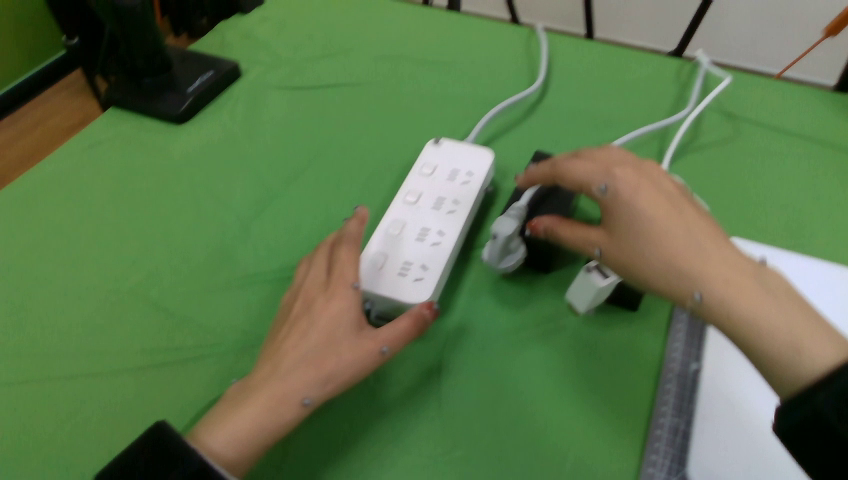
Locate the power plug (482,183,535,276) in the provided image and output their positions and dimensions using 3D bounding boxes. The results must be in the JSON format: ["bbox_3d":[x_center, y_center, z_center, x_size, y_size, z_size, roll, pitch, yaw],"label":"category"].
[{"bbox_3d":[0.079,-0.004,0.503,0.072,0.053,0.035,-40,51,-11],"label":"power plug"}]

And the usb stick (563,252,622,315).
[{"bbox_3d":[0.124,0.036,0.456,0.027,0.059,0.021,-29,65,-26],"label":"usb stick"}]

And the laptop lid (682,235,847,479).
[{"bbox_3d":[0.372,0.125,0.414,0.355,0.013,0.240,19,53,16],"label":"laptop lid"}]

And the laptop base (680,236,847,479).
[{"bbox_3d":[0.373,0.131,0.424,0.353,0.023,0.234,18,54,15],"label":"laptop base"}]

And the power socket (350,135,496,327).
[{"bbox_3d":[0.005,-0.019,0.548,0.072,0.033,0.225,17,50,13],"label":"power socket"}]
